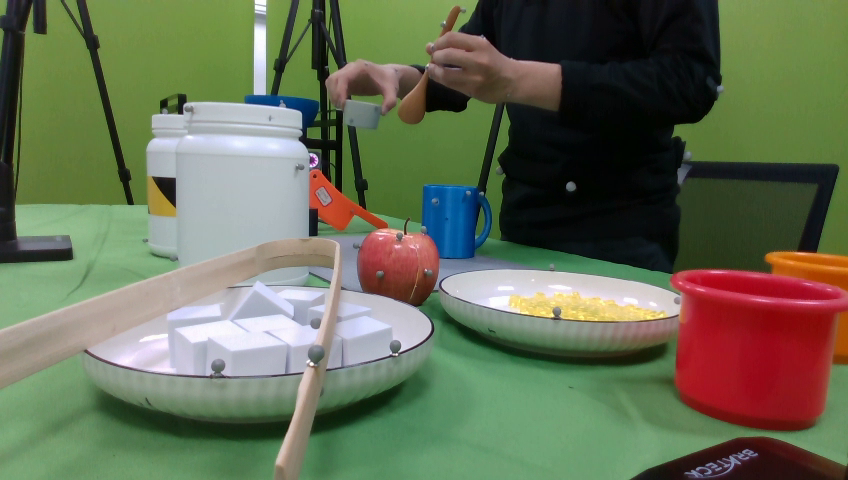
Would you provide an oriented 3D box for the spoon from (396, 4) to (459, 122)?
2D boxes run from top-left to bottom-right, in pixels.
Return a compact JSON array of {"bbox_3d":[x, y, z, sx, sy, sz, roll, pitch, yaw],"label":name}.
[{"bbox_3d":[0.005,-0.242,0.846,0.042,0.193,0.021,23,38,-6],"label":"spoon"}]

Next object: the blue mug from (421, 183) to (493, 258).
[{"bbox_3d":[0.052,-0.032,0.912,0.117,0.106,0.082,-1,8,-24],"label":"blue mug"}]

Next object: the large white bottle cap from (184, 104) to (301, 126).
[{"bbox_3d":[-0.184,-0.126,0.618,0.115,0.018,0.115,2,8,0],"label":"large white bottle cap"}]

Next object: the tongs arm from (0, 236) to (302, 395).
[{"bbox_3d":[-0.158,0.038,0.351,0.028,0.028,0.388,-3,8,11],"label":"tongs arm"}]

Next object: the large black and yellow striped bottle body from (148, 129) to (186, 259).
[{"bbox_3d":[-0.310,-0.073,0.838,0.131,0.184,0.130,2,8,0],"label":"large black and yellow striped bottle body"}]

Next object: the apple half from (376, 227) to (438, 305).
[{"bbox_3d":[-0.017,0.026,0.593,0.080,0.074,0.053,4,2,43],"label":"apple half"}]

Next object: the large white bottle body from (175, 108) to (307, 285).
[{"bbox_3d":[-0.188,-0.042,0.630,0.131,0.184,0.130,2,8,0],"label":"large white bottle body"}]

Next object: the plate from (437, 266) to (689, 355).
[{"bbox_3d":[0.114,0.057,0.517,0.209,0.038,0.209,3,7,0],"label":"plate"}]

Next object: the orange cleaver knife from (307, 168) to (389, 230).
[{"bbox_3d":[-0.158,-0.060,1.166,0.212,0.077,0.012,34,-12,-32],"label":"orange cleaver knife"}]

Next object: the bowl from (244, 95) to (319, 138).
[{"bbox_3d":[-0.293,-0.251,1.249,0.151,0.077,0.151,2,8,0],"label":"bowl"}]

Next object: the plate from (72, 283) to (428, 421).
[{"bbox_3d":[-0.102,0.066,0.381,0.208,0.039,0.207,2,7,0],"label":"plate"}]

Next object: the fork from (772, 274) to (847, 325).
[{"bbox_3d":[0.332,0.018,0.443,0.028,0.018,0.207,-1,-36,-15],"label":"fork"}]

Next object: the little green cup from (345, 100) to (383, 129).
[{"bbox_3d":[-0.098,-0.201,0.967,0.061,0.038,0.061,9,13,-2],"label":"little green cup"}]

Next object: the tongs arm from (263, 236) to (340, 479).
[{"bbox_3d":[-0.074,0.039,0.349,0.051,0.026,0.384,-2,9,-3],"label":"tongs arm"}]

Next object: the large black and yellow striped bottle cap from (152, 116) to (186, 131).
[{"bbox_3d":[-0.309,-0.155,0.826,0.115,0.019,0.115,3,6,0],"label":"large black and yellow striped bottle cap"}]

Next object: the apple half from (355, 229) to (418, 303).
[{"bbox_3d":[-0.043,0.027,0.564,0.081,0.081,0.033,9,5,42],"label":"apple half"}]

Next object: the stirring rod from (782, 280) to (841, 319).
[{"bbox_3d":[0.344,0.019,0.460,0.014,0.006,0.176,-13,-27,-30],"label":"stirring rod"}]
